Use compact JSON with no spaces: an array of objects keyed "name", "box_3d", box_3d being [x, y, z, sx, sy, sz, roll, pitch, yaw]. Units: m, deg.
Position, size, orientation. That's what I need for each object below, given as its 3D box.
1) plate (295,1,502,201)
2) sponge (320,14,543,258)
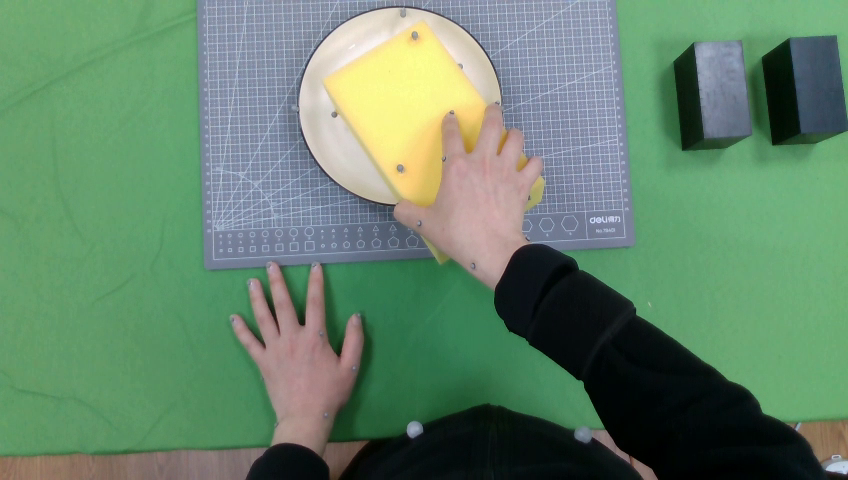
[{"name":"plate","box_3d":[-0.025,-0.140,0.626,0.209,0.038,0.208,0,85,-2]},{"name":"sponge","box_3d":[0.006,-0.101,0.586,0.118,0.061,0.205,-33,76,-5]}]
